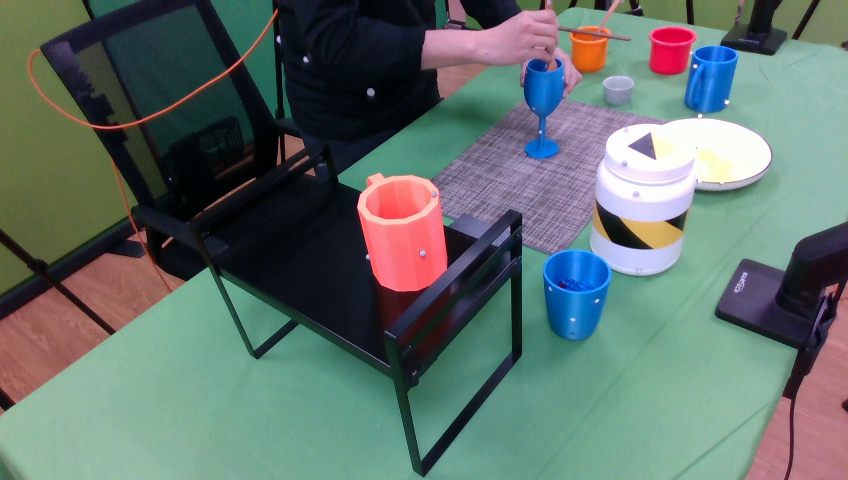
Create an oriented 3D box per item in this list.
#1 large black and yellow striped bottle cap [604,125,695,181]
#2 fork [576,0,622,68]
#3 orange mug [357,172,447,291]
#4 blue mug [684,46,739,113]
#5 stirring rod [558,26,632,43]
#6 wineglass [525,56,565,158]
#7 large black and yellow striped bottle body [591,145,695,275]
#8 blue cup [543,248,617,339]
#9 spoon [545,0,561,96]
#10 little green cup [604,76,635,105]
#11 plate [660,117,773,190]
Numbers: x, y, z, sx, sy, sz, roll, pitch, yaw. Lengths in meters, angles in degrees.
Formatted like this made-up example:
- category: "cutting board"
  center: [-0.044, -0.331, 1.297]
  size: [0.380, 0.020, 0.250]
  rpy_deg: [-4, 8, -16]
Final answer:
- category: "large black and yellow striped bottle cap"
  center: [0.304, -0.120, 0.817]
  size: [0.115, 0.019, 0.114]
  rpy_deg: [-3, 41, 3]
- category: "fork"
  center: [0.409, -0.484, 1.381]
  size: [0.028, 0.019, 0.207]
  rpy_deg: [37, 101, 46]
- category: "orange mug"
  center: [-0.030, -0.018, 0.669]
  size: [0.084, 0.101, 0.125]
  rpy_deg: [-23, 47, -16]
- category: "blue mug"
  center: [0.556, -0.310, 1.190]
  size: [0.117, 0.106, 0.081]
  rpy_deg: [-32, 46, -25]
- category: "stirring rod"
  center: [0.381, -0.462, 1.356]
  size: [0.175, 0.006, 0.014]
  rpy_deg: [22, 49, 30]
- category: "wineglass"
  center: [0.219, -0.240, 1.102]
  size: [0.074, 0.173, 0.073]
  rpy_deg: [-4, 41, 4]
- category: "large black and yellow striped bottle body"
  center: [0.313, -0.056, 0.871]
  size: [0.131, 0.185, 0.130]
  rpy_deg: [-5, 40, 4]
- category: "blue cup"
  center: [0.199, 0.076, 0.797]
  size: [0.092, 0.100, 0.092]
  rpy_deg: [-4, 39, 4]
- category: "spoon"
  center: [0.213, -0.333, 1.021]
  size: [0.042, 0.195, 0.021]
  rpy_deg: [-32, 40, -23]
- category: "little green cup"
  center: [0.408, -0.311, 1.266]
  size: [0.061, 0.039, 0.061]
  rpy_deg: [-4, 40, 4]
- category: "plate"
  center: [0.495, -0.149, 1.063]
  size: [0.209, 0.038, 0.208]
  rpy_deg: [-5, 40, 5]
